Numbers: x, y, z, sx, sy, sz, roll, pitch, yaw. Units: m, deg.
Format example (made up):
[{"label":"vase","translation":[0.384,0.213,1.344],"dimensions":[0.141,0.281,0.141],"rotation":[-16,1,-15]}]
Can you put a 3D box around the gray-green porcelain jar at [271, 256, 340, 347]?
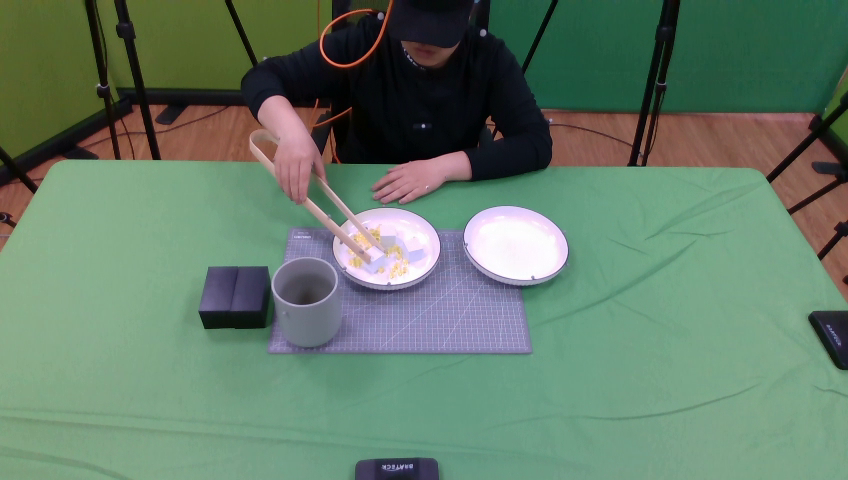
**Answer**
[{"label":"gray-green porcelain jar","translation":[-0.193,0.107,1.004],"dimensions":[0.106,0.127,0.105],"rotation":[2,46,-2]}]

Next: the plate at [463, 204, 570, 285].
[{"label":"plate","translation":[0.178,0.012,1.184],"dimensions":[0.209,0.038,0.208],"rotation":[3,46,-3]}]

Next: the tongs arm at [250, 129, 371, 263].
[{"label":"tongs arm","translation":[-0.223,-0.092,1.179],"dimensions":[0.383,0.026,0.051],"rotation":[40,54,19]}]

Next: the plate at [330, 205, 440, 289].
[{"label":"plate","translation":[-0.074,0.017,1.160],"dimensions":[0.208,0.039,0.206],"rotation":[2,46,-2]}]

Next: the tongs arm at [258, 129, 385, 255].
[{"label":"tongs arm","translation":[-0.206,-0.102,1.192],"dimensions":[0.028,0.028,0.386],"rotation":[-34,66,-29]}]
